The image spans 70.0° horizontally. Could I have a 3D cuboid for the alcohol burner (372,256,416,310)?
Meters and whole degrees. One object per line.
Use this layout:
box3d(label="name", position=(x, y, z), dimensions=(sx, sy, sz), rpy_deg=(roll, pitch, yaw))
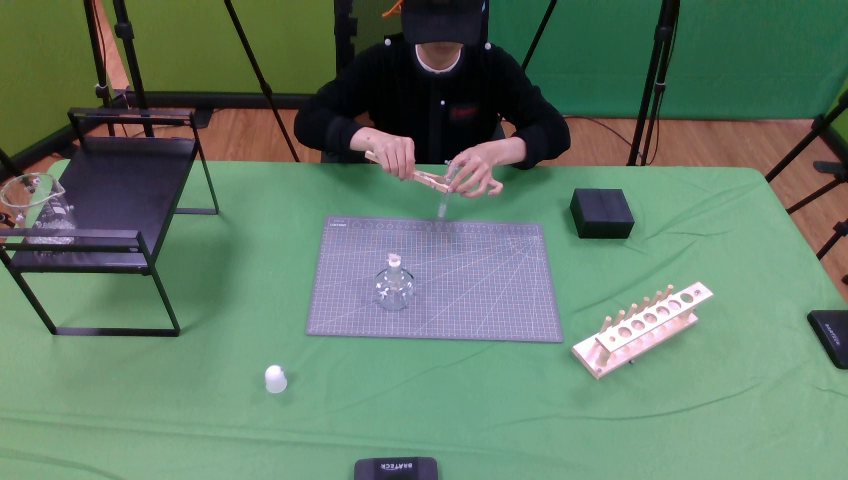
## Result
box3d(label="alcohol burner", position=(-0.052, 0.068, 1.057), dimensions=(0.078, 0.120, 0.077), rpy_deg=(1, 48, -1))

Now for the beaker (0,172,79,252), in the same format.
box3d(label="beaker", position=(-0.557, -0.038, 0.889), dimensions=(0.084, 0.101, 0.073), rpy_deg=(-3, 47, -8))

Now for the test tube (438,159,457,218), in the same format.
box3d(label="test tube", position=(0.044, -0.095, 1.162), dimensions=(0.017, 0.151, 0.017), rpy_deg=(5, 49, -6))

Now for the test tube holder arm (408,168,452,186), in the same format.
box3d(label="test tube holder arm", position=(0.010, -0.120, 1.159), dimensions=(0.088, 0.015, 0.010), rpy_deg=(13, 40, -2))

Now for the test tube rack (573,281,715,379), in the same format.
box3d(label="test tube rack", position=(0.378, 0.140, 1.038), dimensions=(0.242, 0.085, 0.066), rpy_deg=(-22, 51, -23))

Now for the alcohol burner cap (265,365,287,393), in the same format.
box3d(label="alcohol burner cap", position=(-0.236, 0.216, 0.956), dimensions=(0.034, 0.048, 0.033), rpy_deg=(3, 46, -3))

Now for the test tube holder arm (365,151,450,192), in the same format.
box3d(label="test tube holder arm", position=(-0.033, -0.132, 1.159), dimensions=(0.178, 0.015, 0.013), rpy_deg=(23, 40, 10))
